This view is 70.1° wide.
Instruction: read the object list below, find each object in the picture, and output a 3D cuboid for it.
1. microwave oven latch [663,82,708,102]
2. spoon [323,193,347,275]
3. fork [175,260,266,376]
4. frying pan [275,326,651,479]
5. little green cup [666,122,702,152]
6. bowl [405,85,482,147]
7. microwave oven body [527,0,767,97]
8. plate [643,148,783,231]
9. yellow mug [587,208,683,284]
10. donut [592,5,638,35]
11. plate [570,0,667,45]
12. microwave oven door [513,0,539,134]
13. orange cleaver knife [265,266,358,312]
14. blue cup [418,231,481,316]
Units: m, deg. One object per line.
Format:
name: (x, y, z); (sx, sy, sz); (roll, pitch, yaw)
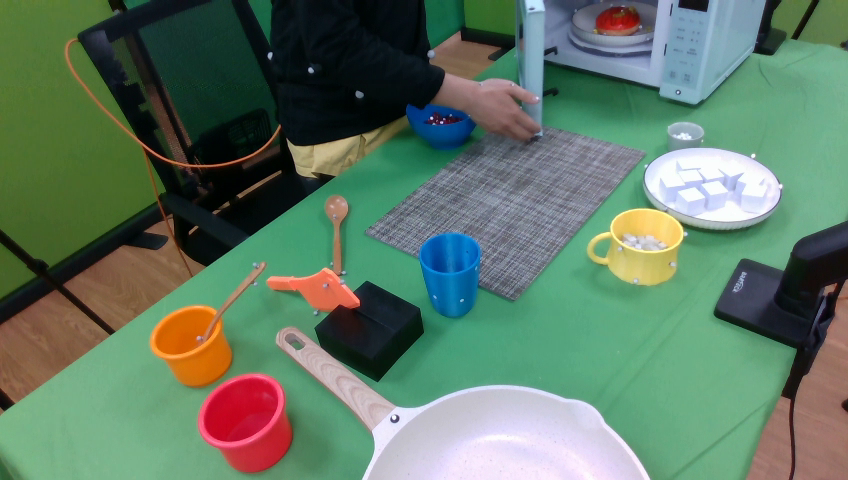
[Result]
microwave oven latch: (0.518, -0.298, 1.202); (0.030, 0.029, 0.078); (-37, 48, -29)
spoon: (-0.148, -0.014, 1.008); (0.042, 0.022, 0.192); (0, 40, -8)
fork: (-0.268, 0.103, 0.792); (0.207, 0.019, 0.028); (-51, 40, 16)
frying pan: (0.004, 0.229, 0.641); (0.484, 0.103, 0.308); (34, 54, 28)
little green cup: (0.471, -0.184, 1.102); (0.061, 0.039, 0.061); (-5, 41, 5)
bowl: (0.042, -0.237, 1.197); (0.151, 0.077, 0.150); (-4, 41, 4)
microwave oven body: (0.473, -0.516, 1.313); (0.438, 0.261, 0.327); (26, 51, 34)
plate: (0.464, -0.080, 0.986); (0.207, 0.039, 0.206); (-4, 41, 4)
yellow mug: (0.305, 0.009, 0.884); (0.131, 0.064, 0.099); (-4, 41, 5)
donut: (0.427, -0.491, 1.349); (0.099, 0.048, 0.098); (-6, 38, 5)
plate: (0.437, -0.491, 1.364); (0.209, 0.038, 0.208); (-6, 42, 6)
microwave oven door: (0.206, -0.410, 1.221); (0.039, 0.245, 0.354); (-2, 41, 6)
orange cleaver knife: (-0.164, 0.073, 0.864); (0.210, 0.077, 0.012); (-6, 31, 50)
blue cup: (0.040, 0.053, 0.843); (0.092, 0.100, 0.092); (-4, 43, 4)
